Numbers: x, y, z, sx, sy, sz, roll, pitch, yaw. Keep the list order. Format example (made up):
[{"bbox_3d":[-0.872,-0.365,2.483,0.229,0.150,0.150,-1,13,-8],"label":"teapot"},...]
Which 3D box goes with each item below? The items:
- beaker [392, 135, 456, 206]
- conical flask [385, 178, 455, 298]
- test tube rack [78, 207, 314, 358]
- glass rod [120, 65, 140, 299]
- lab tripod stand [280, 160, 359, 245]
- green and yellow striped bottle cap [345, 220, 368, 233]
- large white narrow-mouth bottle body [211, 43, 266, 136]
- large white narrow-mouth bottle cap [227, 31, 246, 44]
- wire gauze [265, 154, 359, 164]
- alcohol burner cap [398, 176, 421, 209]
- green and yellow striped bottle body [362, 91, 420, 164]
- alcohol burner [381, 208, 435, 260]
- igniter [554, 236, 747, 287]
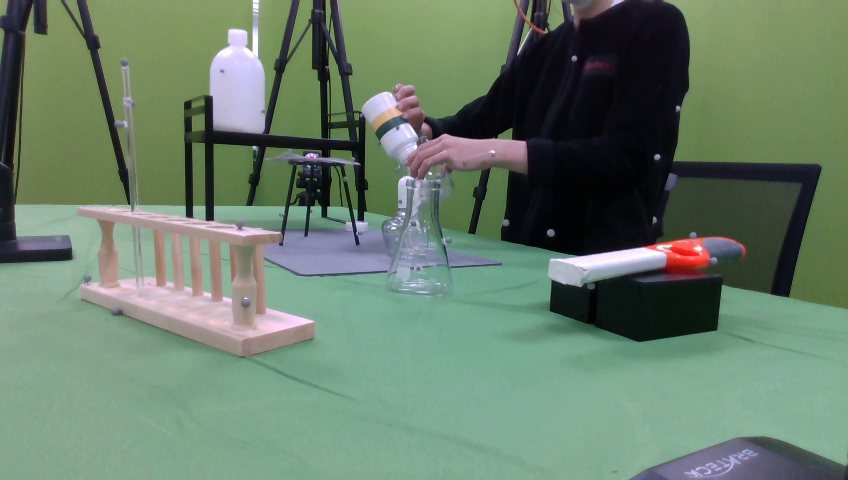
[{"bbox_3d":[0.004,-0.116,1.020,0.074,0.100,0.084,-20,-19,-29],"label":"beaker"},{"bbox_3d":[-0.002,-0.004,0.639,0.075,0.122,0.075,2,7,0],"label":"conical flask"},{"bbox_3d":[-0.196,0.023,0.500,0.241,0.085,0.067,8,8,37],"label":"test tube rack"},{"bbox_3d":[-0.249,-0.047,0.513,0.008,0.199,0.008,-1,4,0],"label":"glass rod"},{"bbox_3d":[-0.176,-0.062,0.973,0.148,0.131,0.148,0,7,0],"label":"lab tripod stand"},{"bbox_3d":[-0.130,-0.026,1.169,0.045,0.020,0.045,3,9,0],"label":"green and yellow striped bottle cap"},{"bbox_3d":[-0.361,-0.302,1.176,0.102,0.194,0.102,1,7,0],"label":"large white narrow-mouth bottle body"},{"bbox_3d":[-0.361,-0.388,1.165,0.038,0.024,0.037,1,7,0],"label":"large white narrow-mouth bottle cap"},{"bbox_3d":[-0.181,-0.129,0.969,0.126,0.011,0.121,-1,7,-27],"label":"wire gauze"},{"bbox_3d":[-0.023,-0.068,0.866,0.034,0.048,0.034,-5,8,1],"label":"alcohol burner cap"},{"bbox_3d":[-0.052,-0.192,1.049,0.063,0.119,0.063,-30,-7,-4],"label":"green and yellow striped bottle body"},{"bbox_3d":[-0.023,-0.032,0.871,0.078,0.119,0.078,1,6,0],"label":"alcohol burner"},{"bbox_3d":[0.221,0.017,0.558,0.278,0.025,0.057,-5,15,-39],"label":"igniter"}]
